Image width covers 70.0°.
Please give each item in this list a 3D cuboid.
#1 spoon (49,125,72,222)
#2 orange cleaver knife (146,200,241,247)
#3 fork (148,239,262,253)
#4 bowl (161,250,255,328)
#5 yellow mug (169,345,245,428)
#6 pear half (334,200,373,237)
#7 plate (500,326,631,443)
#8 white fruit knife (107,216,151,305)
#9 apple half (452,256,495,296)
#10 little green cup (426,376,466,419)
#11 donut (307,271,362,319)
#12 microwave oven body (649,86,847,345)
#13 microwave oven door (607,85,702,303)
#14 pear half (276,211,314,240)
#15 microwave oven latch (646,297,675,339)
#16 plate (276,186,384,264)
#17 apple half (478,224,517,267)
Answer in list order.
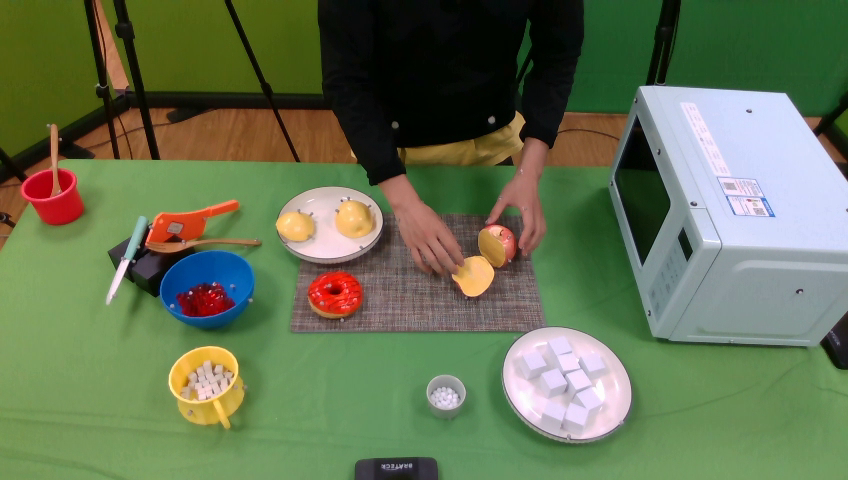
[{"bbox_3d":[-0.717,-0.131,1.189,0.042,0.021,0.193,-3,90,-7],"label":"spoon"},{"bbox_3d":[-0.435,-0.033,1.157,0.012,0.077,0.211,31,26,19],"label":"orange cleaver knife"},{"bbox_3d":[-0.398,0.008,1.117,0.208,0.019,0.028,-5,33,-37],"label":"fork"},{"bbox_3d":[-0.362,0.097,1.040,0.151,0.077,0.150,2,45,-2],"label":"bowl"},{"bbox_3d":[-0.322,0.230,0.922,0.100,0.064,0.130,-24,53,-25],"label":"yellow mug"},{"bbox_3d":[-0.147,-0.059,1.209,0.076,0.056,0.109,-17,42,-25],"label":"pear half"},{"bbox_3d":[0.224,0.234,0.978,0.208,0.039,0.206,2,46,-2],"label":"plate"},{"bbox_3d":[-0.518,0.032,1.066,0.027,0.016,0.206,-18,45,19],"label":"white fruit knife"},{"bbox_3d":[0.095,0.070,1.119,0.081,0.033,0.081,-7,62,13],"label":"apple half"},{"bbox_3d":[0.033,0.248,0.950,0.061,0.039,0.061,2,46,-2],"label":"little green cup"},{"bbox_3d":[-0.157,0.097,1.073,0.099,0.048,0.098,4,45,-4],"label":"donut"},{"bbox_3d":[0.567,-0.053,1.118,0.326,0.261,0.439,2,45,-1],"label":"microwave oven body"},{"bbox_3d":[0.423,-0.094,1.140,0.039,0.245,0.353,2,46,-1],"label":"microwave oven door"},{"bbox_3d":[-0.244,-0.036,1.179,0.070,0.031,0.088,43,42,3],"label":"pear half"},{"bbox_3d":[0.412,0.134,1.061,0.030,0.029,0.078,4,45,1],"label":"microwave oven latch"},{"bbox_3d":[-0.184,-0.027,1.195,0.209,0.038,0.208,2,46,-2],"label":"plate"},{"bbox_3d":[0.148,0.008,1.160,0.053,0.075,0.080,-24,48,-30],"label":"apple half"}]
